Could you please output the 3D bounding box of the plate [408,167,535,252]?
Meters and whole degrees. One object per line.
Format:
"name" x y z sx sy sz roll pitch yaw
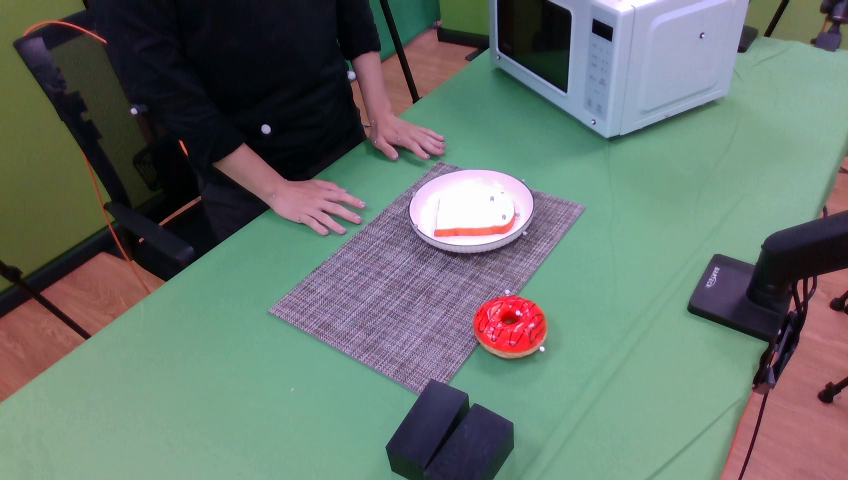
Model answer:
"plate" 0.078 -0.047 0.996 0.207 0.039 0.206 -4 41 4

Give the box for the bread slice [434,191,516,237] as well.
"bread slice" 0.086 -0.046 0.996 0.131 0.019 0.104 -1 42 7

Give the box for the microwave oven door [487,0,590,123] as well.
"microwave oven door" 0.232 -0.420 1.231 0.039 0.245 0.352 -22 43 -16

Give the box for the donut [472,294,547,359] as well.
"donut" 0.114 0.114 0.803 0.099 0.048 0.098 0 40 1

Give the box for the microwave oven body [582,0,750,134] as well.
"microwave oven body" 0.382 -0.444 1.246 0.327 0.261 0.437 -22 42 -16

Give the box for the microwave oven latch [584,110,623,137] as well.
"microwave oven latch" 0.337 -0.222 1.142 0.030 0.029 0.078 -21 42 -14
